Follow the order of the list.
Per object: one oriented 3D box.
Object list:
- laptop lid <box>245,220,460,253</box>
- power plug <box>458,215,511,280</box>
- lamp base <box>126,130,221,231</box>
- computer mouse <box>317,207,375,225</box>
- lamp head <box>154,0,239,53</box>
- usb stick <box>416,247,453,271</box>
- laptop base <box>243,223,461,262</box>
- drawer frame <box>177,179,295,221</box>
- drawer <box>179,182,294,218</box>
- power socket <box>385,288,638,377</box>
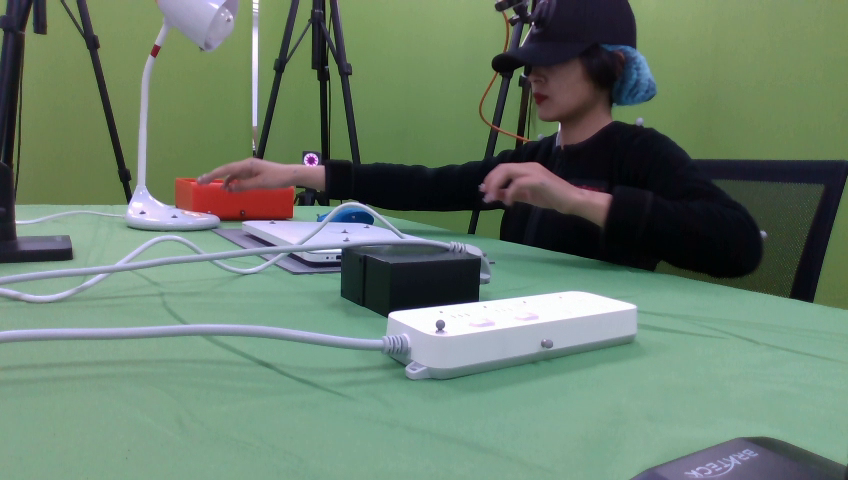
[{"bbox_3d":[-0.124,-0.009,0.945,0.243,0.013,0.355,1,7,-29],"label":"laptop lid"},{"bbox_3d":[0.063,0.010,0.622,0.053,0.072,0.035,-8,40,0],"label":"power plug"},{"bbox_3d":[-0.469,-0.112,1.108,0.179,0.180,0.160,0,7,3],"label":"lamp base"},{"bbox_3d":[-0.163,-0.047,1.263,0.118,0.041,0.062,-6,12,-29],"label":"computer mouse"},{"bbox_3d":[-0.406,-0.402,1.059,0.123,0.112,0.112,25,6,-6],"label":"lamp head"},{"bbox_3d":[0.010,0.024,0.755,0.027,0.021,0.059,38,-18,-17],"label":"usb stick"},{"bbox_3d":[-0.126,0.002,0.946,0.237,0.023,0.352,2,6,-31],"label":"laptop base"},{"bbox_3d":[-0.422,-0.092,1.352,0.215,0.082,0.200,-3,10,-32],"label":"drawer frame"},{"bbox_3d":[-0.420,-0.091,1.354,0.213,0.073,0.193,-3,10,-31],"label":"drawer"},{"bbox_3d":[0.074,0.064,0.461,0.228,0.032,0.072,-3,8,-34],"label":"power socket"}]
